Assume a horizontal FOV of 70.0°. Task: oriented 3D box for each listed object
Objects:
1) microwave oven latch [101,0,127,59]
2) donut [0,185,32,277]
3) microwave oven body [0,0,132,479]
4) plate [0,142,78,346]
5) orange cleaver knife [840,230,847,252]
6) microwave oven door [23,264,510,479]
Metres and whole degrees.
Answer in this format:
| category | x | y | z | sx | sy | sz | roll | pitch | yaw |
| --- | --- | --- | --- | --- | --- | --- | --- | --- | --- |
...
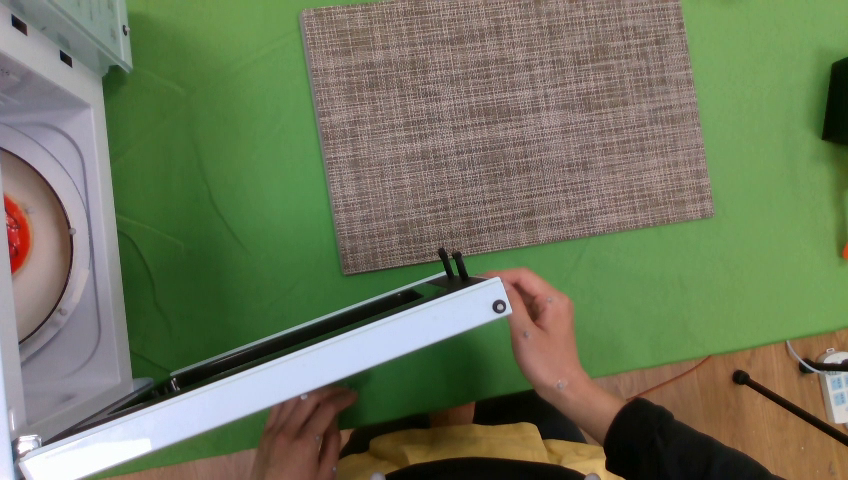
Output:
| category | x | y | z | sx | sy | sz | roll | pitch | yaw |
| --- | --- | --- | --- | --- | --- | --- | --- | --- | --- |
| microwave oven latch | -0.325 | -0.229 | 0.622 | 0.030 | 0.029 | 0.079 | -4 | 91 | -7 |
| donut | -0.414 | -0.007 | 0.555 | 0.099 | 0.048 | 0.099 | 0 | 90 | -7 |
| microwave oven body | -0.441 | -0.039 | 0.511 | 0.326 | 0.260 | 0.441 | -6 | 91 | -7 |
| plate | -0.431 | 0.005 | 0.564 | 0.209 | 0.038 | 0.209 | 0 | 90 | -7 |
| orange cleaver knife | 0.545 | -0.087 | 0.720 | 0.012 | 0.076 | 0.212 | 11 | 118 | -3 |
| microwave oven door | -0.116 | 0.099 | 0.543 | 0.356 | 0.243 | 0.039 | -20 | 90 | -6 |
